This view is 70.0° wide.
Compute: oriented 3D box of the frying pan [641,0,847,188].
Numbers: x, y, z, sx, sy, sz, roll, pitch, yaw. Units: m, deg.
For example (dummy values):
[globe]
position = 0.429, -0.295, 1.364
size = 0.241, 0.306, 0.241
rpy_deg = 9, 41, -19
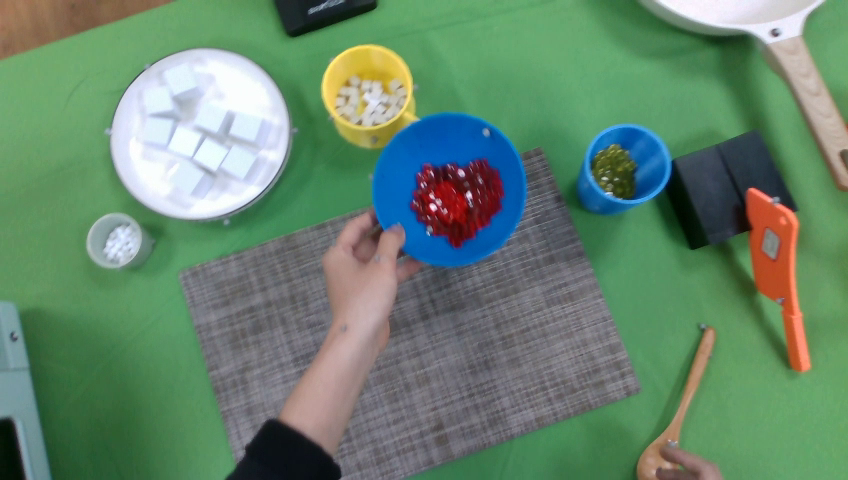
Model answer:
[frying pan]
position = 0.376, -0.280, 0.685
size = 0.307, 0.103, 0.484
rpy_deg = -15, 74, 0

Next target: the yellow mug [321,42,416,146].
[yellow mug]
position = -0.051, -0.158, 0.694
size = 0.130, 0.064, 0.100
rpy_deg = 33, 83, 5

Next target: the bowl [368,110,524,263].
[bowl]
position = 0.024, -0.047, 0.615
size = 0.151, 0.077, 0.151
rpy_deg = -1, 83, 5

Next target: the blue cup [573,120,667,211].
[blue cup]
position = 0.204, -0.072, 0.661
size = 0.092, 0.100, 0.092
rpy_deg = 0, 80, 0

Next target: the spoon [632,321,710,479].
[spoon]
position = 0.278, 0.178, 0.664
size = 0.041, 0.022, 0.193
rpy_deg = 24, 83, 17

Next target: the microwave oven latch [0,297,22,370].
[microwave oven latch]
position = -0.465, 0.101, 0.660
size = 0.030, 0.029, 0.079
rpy_deg = -15, 83, -2

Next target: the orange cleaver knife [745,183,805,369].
[orange cleaver knife]
position = 0.376, 0.040, 0.652
size = 0.012, 0.076, 0.213
rpy_deg = -20, 111, -2

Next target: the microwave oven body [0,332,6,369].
[microwave oven body]
position = -0.559, 0.296, 0.536
size = 0.326, 0.261, 0.440
rpy_deg = -16, 83, -2

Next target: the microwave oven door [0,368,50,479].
[microwave oven door]
position = -0.407, 0.295, 0.529
size = 0.039, 0.244, 0.354
rpy_deg = -17, 82, -1

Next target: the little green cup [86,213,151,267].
[little green cup]
position = -0.344, 0.002, 0.689
size = 0.061, 0.039, 0.061
rpy_deg = 0, 82, 0

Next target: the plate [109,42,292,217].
[plate]
position = -0.255, -0.126, 0.708
size = 0.208, 0.039, 0.207
rpy_deg = 0, 82, 1
